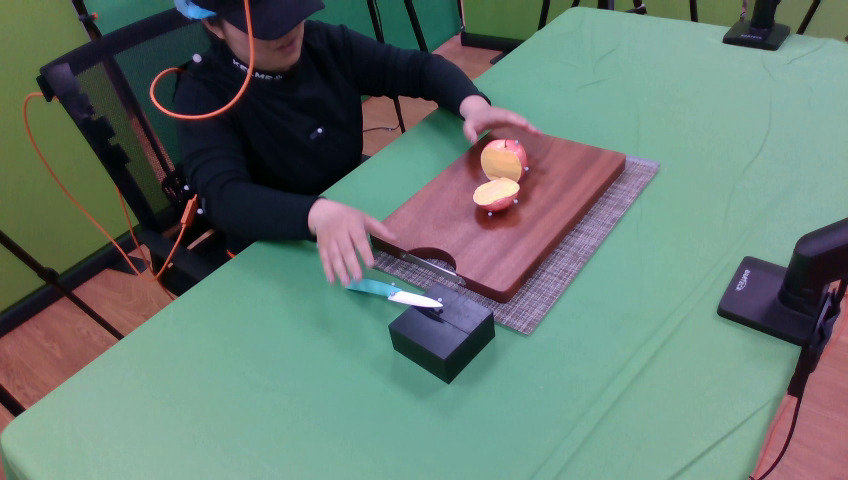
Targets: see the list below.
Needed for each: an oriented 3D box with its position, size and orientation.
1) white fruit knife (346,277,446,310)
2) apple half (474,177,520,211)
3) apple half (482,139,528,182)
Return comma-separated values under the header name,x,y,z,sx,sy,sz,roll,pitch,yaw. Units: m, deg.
name,x,y,z,sx,sy,sz,roll,pitch,yaw
white fruit knife,-0.042,0.077,0.865,0.205,0.016,0.027,9,41,46
apple half,0.123,-0.070,0.994,0.081,0.033,0.081,-17,29,11
apple half,0.145,-0.138,1.038,0.080,0.075,0.053,15,41,31
